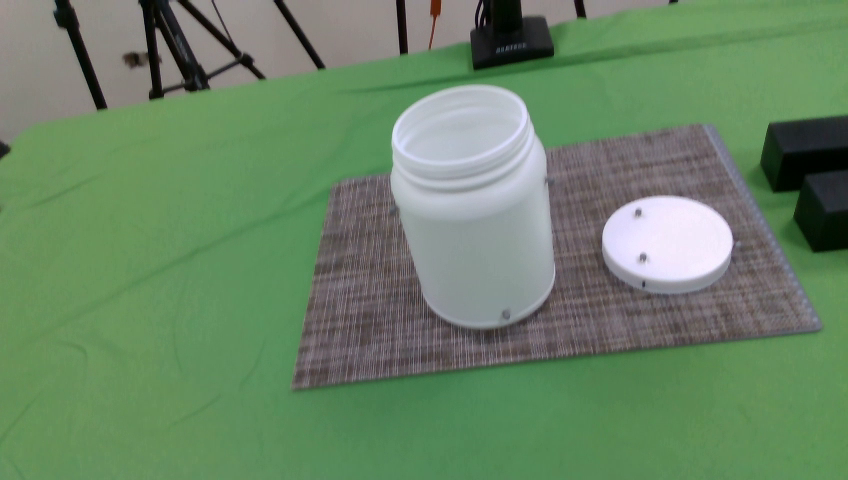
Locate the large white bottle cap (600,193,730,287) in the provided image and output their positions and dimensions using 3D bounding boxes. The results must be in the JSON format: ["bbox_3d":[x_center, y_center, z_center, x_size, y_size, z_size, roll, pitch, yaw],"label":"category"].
[{"bbox_3d":[0.227,-0.003,0.576,0.115,0.018,0.113,-8,43,8],"label":"large white bottle cap"}]

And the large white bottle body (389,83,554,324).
[{"bbox_3d":[0.044,-0.029,0.533,0.130,0.186,0.129,-8,43,8],"label":"large white bottle body"}]
